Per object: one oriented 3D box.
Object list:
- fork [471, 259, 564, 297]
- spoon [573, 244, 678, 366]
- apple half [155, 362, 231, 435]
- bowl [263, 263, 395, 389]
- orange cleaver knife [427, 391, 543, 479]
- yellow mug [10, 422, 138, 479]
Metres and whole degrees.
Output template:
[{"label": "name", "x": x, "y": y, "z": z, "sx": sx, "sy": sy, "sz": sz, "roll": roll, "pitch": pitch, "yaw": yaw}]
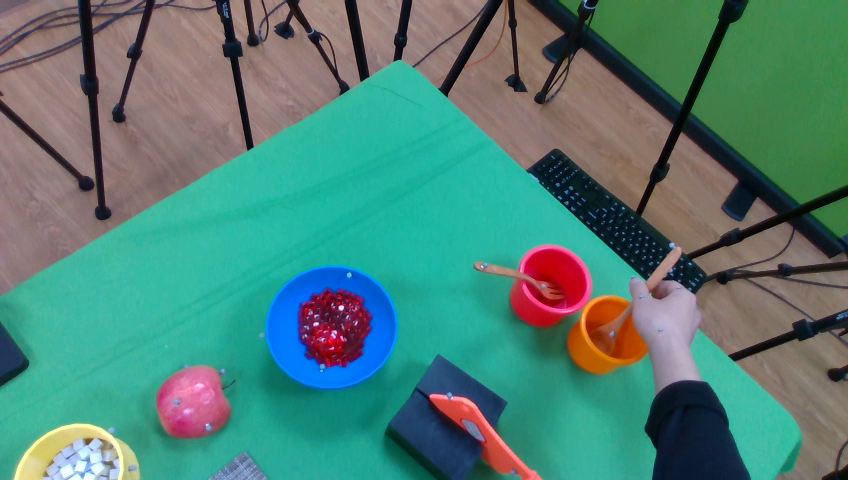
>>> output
[{"label": "fork", "x": 0.122, "y": 0.048, "z": 0.765, "sx": 0.209, "sy": 0.018, "sz": 0.028, "roll": 21, "pitch": 48, "yaw": -49}, {"label": "spoon", "x": 0.259, "y": 0.084, "z": 0.772, "sx": 0.041, "sy": 0.022, "sz": 0.194, "roll": 39, "pitch": 107, "yaw": 11}, {"label": "apple half", "x": -0.262, "y": 0.175, "z": 0.679, "sx": 0.075, "sy": 0.053, "sz": 0.080, "roll": -16, "pitch": 67, "yaw": -15}, {"label": "bowl", "x": -0.113, "y": 0.112, "z": 0.726, "sx": 0.152, "sy": 0.077, "sz": 0.150, "roll": 5, "pitch": 63, "yaw": -9}, {"label": "orange cleaver knife", "x": 0.086, "y": 0.245, "z": 0.693, "sx": 0.212, "sy": 0.077, "sz": 0.012, "roll": 47, "pitch": 56, "yaw": -10}, {"label": "yellow mug", "x": -0.360, "y": 0.254, "z": 0.611, "sx": 0.100, "sy": 0.064, "sz": 0.130, "roll": 25, "pitch": 61, "yaw": 3}]
